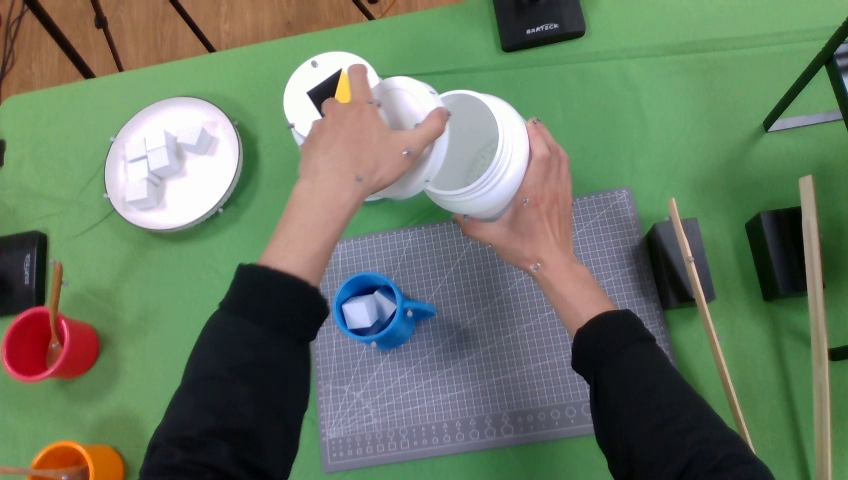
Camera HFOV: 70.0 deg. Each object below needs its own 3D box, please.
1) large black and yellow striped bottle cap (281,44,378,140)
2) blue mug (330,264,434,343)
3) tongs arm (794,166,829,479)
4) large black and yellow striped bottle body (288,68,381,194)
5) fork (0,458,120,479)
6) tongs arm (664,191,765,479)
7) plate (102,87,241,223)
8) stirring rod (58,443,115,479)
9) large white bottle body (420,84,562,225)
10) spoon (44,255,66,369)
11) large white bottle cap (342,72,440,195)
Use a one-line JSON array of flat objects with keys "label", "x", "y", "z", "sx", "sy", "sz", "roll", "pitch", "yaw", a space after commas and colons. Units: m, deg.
[{"label": "large black and yellow striped bottle cap", "x": -0.106, "y": -0.170, "z": 0.694, "sx": 0.115, "sy": 0.019, "sz": 0.114, "roll": -2, "pitch": 76, "yaw": 6}, {"label": "blue mug", "x": -0.046, "y": 0.080, "z": 0.747, "sx": 0.116, "sy": 0.106, "sz": 0.082, "roll": -3, "pitch": 75, "yaw": 7}, {"label": "tongs arm", "x": 0.428, "y": 0.111, "z": 0.678, "sx": 0.028, "sy": 0.028, "sz": 0.387, "roll": 0, "pitch": 87, "yaw": -1}, {"label": "large black and yellow striped bottle body", "x": -0.094, "y": -0.147, "z": 0.773, "sx": 0.130, "sy": 0.185, "sz": 0.130, "roll": -2, "pitch": 75, "yaw": 8}, {"label": "fork", "x": -0.483, "y": 0.275, "z": 0.738, "sx": 0.209, "sy": 0.018, "sz": 0.028, "roll": 19, "pitch": 73, "yaw": -32}, {"label": "tongs arm", "x": 0.348, "y": 0.124, "z": 0.683, "sx": 0.051, "sy": 0.026, "sz": 0.384, "roll": -14, "pitch": 86, "yaw": 1}, {"label": "plate", "x": -0.361, "y": -0.121, "z": 0.881, "sx": 0.207, "sy": 0.039, "sz": 0.206, "roll": -2, "pitch": 76, "yaw": 8}, {"label": "stirring rod", "x": -0.455, "y": 0.307, "z": 0.731, "sx": 0.014, "sy": 0.006, "sz": 0.176, "roll": 37, "pitch": 41, "yaw": 12}, {"label": "large white bottle body", "x": 0.068, "y": -0.092, "z": 0.677, "sx": 0.130, "sy": 0.186, "sz": 0.130, "roll": -4, "pitch": 82, "yaw": 28}, {"label": "spoon", "x": -0.480, "y": 0.097, "z": 0.786, "sx": 0.041, "sy": 0.021, "sz": 0.195, "roll": 36, "pitch": 127, "yaw": 19}, {"label": "large white bottle cap", "x": -0.034, "y": -0.099, "z": 0.572, "sx": 0.114, "sy": 0.018, "sz": 0.115, "roll": 0, "pitch": 91, "yaw": 39}]
